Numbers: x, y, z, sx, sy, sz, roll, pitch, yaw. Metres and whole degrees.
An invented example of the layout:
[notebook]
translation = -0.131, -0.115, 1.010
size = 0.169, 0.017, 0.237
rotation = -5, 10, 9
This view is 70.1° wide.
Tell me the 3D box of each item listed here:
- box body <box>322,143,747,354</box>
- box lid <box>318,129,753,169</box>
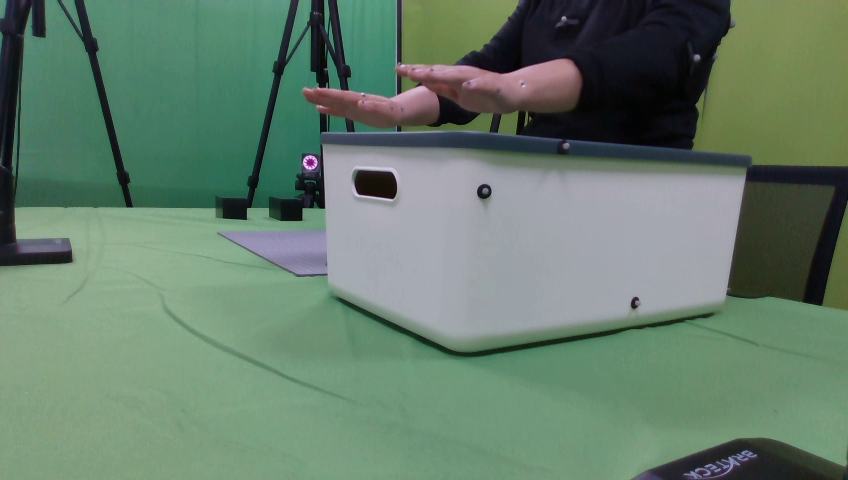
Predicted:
[box body]
translation = 0.106, -0.012, 0.603
size = 0.366, 0.160, 0.253
rotation = -2, 8, -34
[box lid]
translation = 0.107, -0.085, 0.593
size = 0.373, 0.015, 0.262
rotation = -1, 8, -34
